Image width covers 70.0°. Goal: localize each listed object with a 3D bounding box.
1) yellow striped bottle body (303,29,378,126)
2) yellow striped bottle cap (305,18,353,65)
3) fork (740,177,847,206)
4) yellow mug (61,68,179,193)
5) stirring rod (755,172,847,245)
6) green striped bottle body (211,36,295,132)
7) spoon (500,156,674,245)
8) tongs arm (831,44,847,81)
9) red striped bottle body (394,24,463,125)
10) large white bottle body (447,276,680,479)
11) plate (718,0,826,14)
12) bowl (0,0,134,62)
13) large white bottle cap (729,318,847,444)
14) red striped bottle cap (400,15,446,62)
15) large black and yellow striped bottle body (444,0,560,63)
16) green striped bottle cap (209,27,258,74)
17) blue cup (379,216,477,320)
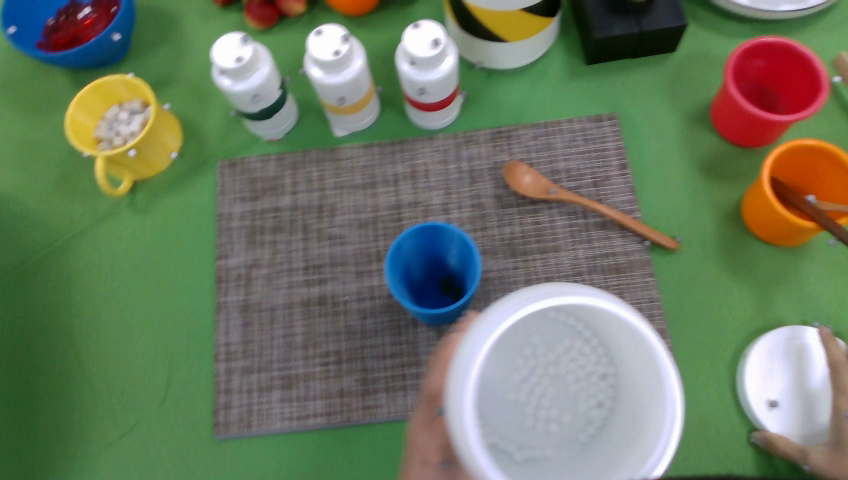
[{"bbox_3d":[-0.089,-0.178,0.641,0.063,0.121,0.062,-2,71,5],"label":"yellow striped bottle body"},{"bbox_3d":[-0.093,-0.194,0.592,0.044,0.019,0.044,-1,73,3],"label":"yellow striped bottle cap"},{"bbox_3d":[0.380,-0.029,0.541,0.028,0.205,0.019,-28,116,-18],"label":"fork"},{"bbox_3d":[-0.336,-0.115,0.667,0.100,0.064,0.130,3,72,4],"label":"yellow mug"},{"bbox_3d":[0.351,-0.027,0.551,0.014,0.006,0.174,-4,28,0],"label":"stirring rod"},{"bbox_3d":[-0.183,-0.170,0.646,0.063,0.120,0.063,-1,71,4],"label":"green striped bottle body"},{"bbox_3d":[0.167,-0.040,0.625,0.193,0.022,0.041,24,50,11],"label":"spoon"},{"bbox_3d":[0.527,-0.041,0.595,0.051,0.027,0.382,-18,72,-4],"label":"tongs arm"},{"bbox_3d":[0.005,-0.177,0.635,0.063,0.120,0.062,-3,69,8],"label":"red striped bottle body"},{"bbox_3d":[0.082,0.093,0.394,0.130,0.185,0.130,-1,80,4],"label":"large white bottle body"},{"bbox_3d":[0.396,-0.346,0.705,0.209,0.038,0.208,-1,72,4],"label":"plate"},{"bbox_3d":[-0.406,-0.266,0.716,0.151,0.077,0.150,-1,72,3],"label":"bowl"},{"bbox_3d":[0.345,0.129,0.562,0.115,0.018,0.114,-1,71,4],"label":"large white bottle cap"},{"bbox_3d":[-0.001,-0.195,0.585,0.044,0.018,0.044,0,70,0],"label":"red striped bottle cap"},{"bbox_3d":[0.083,-0.290,0.632,0.131,0.185,0.130,-1,71,4],"label":"large black and yellow striped bottle body"},{"bbox_3d":[-0.188,-0.187,0.597,0.044,0.020,0.044,-1,71,3],"label":"green striped bottle cap"},{"bbox_3d":[0.006,0.035,0.570,0.092,0.101,0.092,-1,71,3],"label":"blue cup"}]
